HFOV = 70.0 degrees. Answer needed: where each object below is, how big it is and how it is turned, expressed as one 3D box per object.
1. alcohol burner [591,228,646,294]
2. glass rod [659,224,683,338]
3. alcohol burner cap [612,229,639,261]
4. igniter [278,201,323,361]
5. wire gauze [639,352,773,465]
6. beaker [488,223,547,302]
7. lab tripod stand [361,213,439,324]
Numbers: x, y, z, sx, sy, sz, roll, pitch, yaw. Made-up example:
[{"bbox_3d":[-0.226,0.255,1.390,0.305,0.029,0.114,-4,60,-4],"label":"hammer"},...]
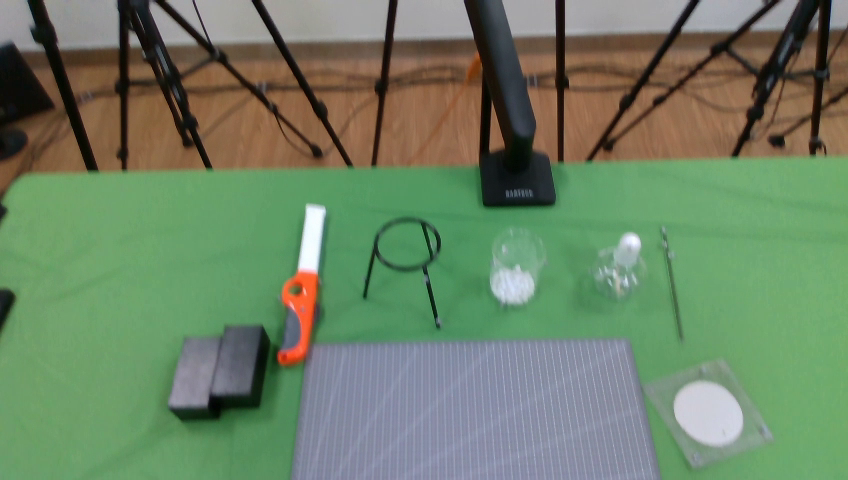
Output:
[{"bbox_3d":[0.280,0.025,0.860,0.078,0.120,0.077,-1,53,1],"label":"alcohol burner"},{"bbox_3d":[0.366,0.056,0.900,0.008,0.008,0.198,3,55,4],"label":"glass rod"},{"bbox_3d":[0.279,0.004,0.830,0.034,0.048,0.033,-2,59,3],"label":"alcohol burner cap"},{"bbox_3d":[-0.179,0.054,0.902,0.057,0.025,0.274,8,54,-11],"label":"igniter"},{"bbox_3d":[0.365,0.216,0.787,0.125,0.011,0.120,-17,56,-8],"label":"wire gauze"},{"bbox_3d":[0.129,0.035,0.865,0.074,0.101,0.083,-9,54,-5],"label":"beaker"},{"bbox_3d":[-0.022,0.033,0.849,0.148,0.133,0.147,-1,53,2],"label":"lab tripod stand"}]
